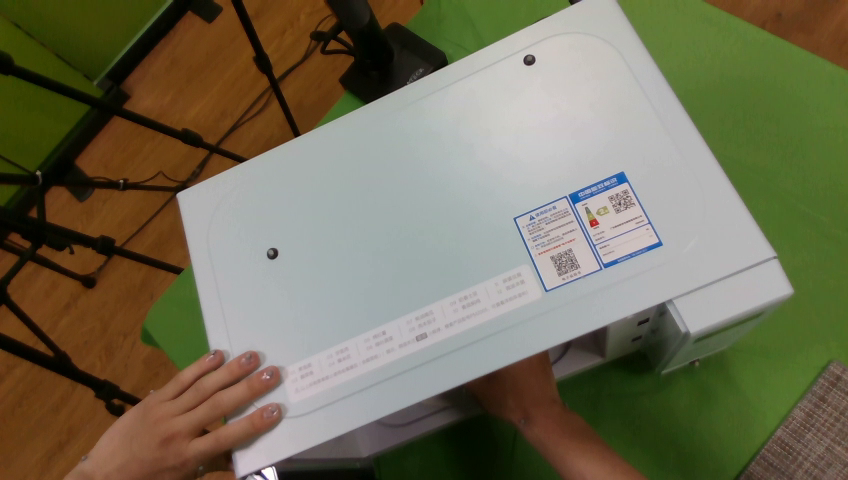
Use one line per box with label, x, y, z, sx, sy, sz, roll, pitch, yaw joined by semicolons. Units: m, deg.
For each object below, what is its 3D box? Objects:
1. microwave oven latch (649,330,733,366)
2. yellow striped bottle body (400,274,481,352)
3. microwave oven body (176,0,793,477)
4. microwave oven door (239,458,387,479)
microwave oven latch;0.274;0.103;0.624;0.079;0.030;0.030;-22;68;8
yellow striped bottle body;0.016;0.073;0.608;0.062;0.121;0.062;-5;70;15
microwave oven body;0.039;0.019;0.611;0.441;0.262;0.323;-24;68;7
microwave oven door;0.027;0.303;0.509;0.353;0.246;0.039;29;81;22
